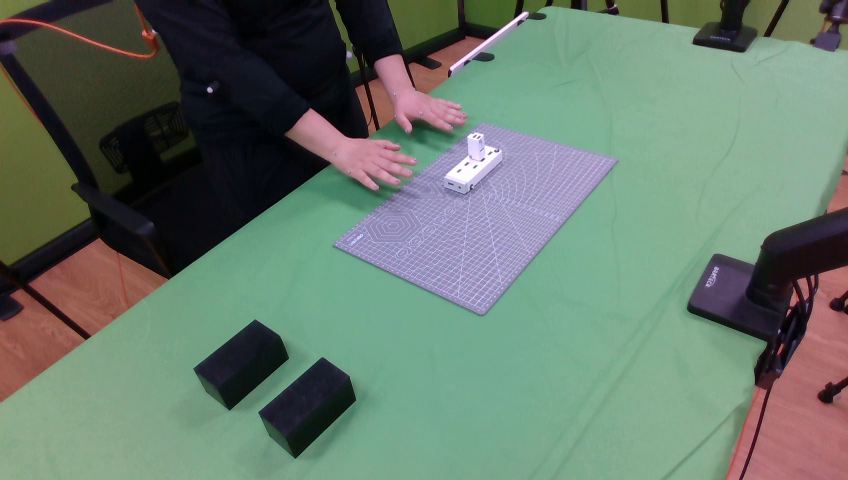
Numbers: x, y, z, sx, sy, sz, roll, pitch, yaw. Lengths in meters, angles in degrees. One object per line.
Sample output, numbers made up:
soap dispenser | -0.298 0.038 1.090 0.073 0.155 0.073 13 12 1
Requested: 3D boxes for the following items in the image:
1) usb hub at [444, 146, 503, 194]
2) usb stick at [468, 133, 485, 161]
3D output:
usb hub | 0.091 -0.129 1.102 0.049 0.025 0.125 23 49 30
usb stick | 0.095 -0.162 1.096 0.027 0.059 0.021 21 48 27
